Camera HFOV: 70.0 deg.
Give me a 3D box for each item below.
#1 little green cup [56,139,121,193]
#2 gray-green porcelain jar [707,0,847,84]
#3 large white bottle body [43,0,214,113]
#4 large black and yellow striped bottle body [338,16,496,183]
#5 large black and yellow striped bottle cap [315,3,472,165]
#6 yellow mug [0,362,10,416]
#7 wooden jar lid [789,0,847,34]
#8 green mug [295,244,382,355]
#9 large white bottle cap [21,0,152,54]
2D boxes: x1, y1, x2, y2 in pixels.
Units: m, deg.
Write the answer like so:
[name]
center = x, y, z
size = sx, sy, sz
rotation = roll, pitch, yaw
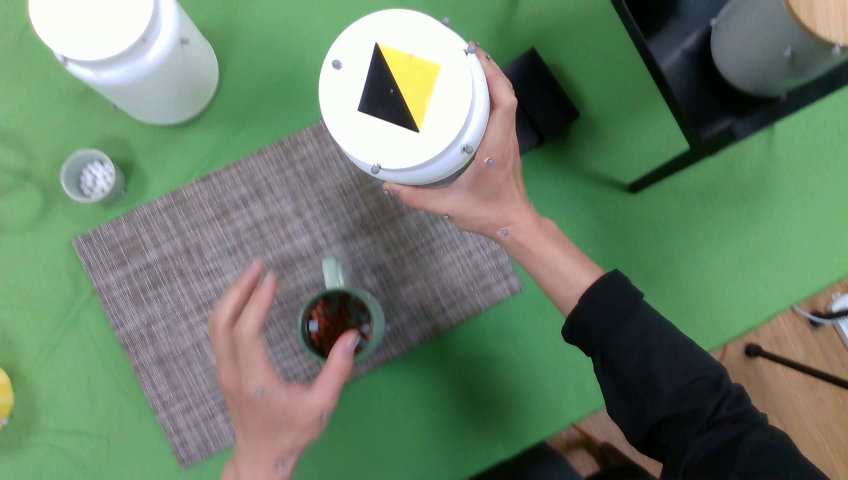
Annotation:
[little green cup]
center = -0.388, -0.084, 0.705
size = 0.061, 0.038, 0.061
rotation = 0, 86, -3
[gray-green porcelain jar]
center = 0.319, -0.202, 0.526
size = 0.106, 0.126, 0.105
rotation = 0, 84, -2
[large white bottle body]
center = -0.317, -0.224, 0.647
size = 0.131, 0.185, 0.130
rotation = 0, 85, -2
[large black and yellow striped bottle body]
center = -0.007, -0.117, 0.524
size = 0.130, 0.184, 0.131
rotation = 1, 94, 10
[large black and yellow striped bottle cap]
center = -0.023, -0.113, 0.441
size = 0.115, 0.019, 0.115
rotation = 1, 95, 8
[yellow mug]
center = -0.526, 0.185, 0.662
size = 0.100, 0.064, 0.130
rotation = 6, 86, -3
[wooden jar lid]
center = 0.320, -0.209, 0.465
size = 0.108, 0.020, 0.108
rotation = 0, 88, -4
[green mug]
center = -0.097, 0.067, 0.670
size = 0.092, 0.105, 0.125
rotation = -11, 85, -3
[large white bottle cap]
center = -0.313, -0.232, 0.563
size = 0.115, 0.018, 0.114
rotation = 0, 86, -3
